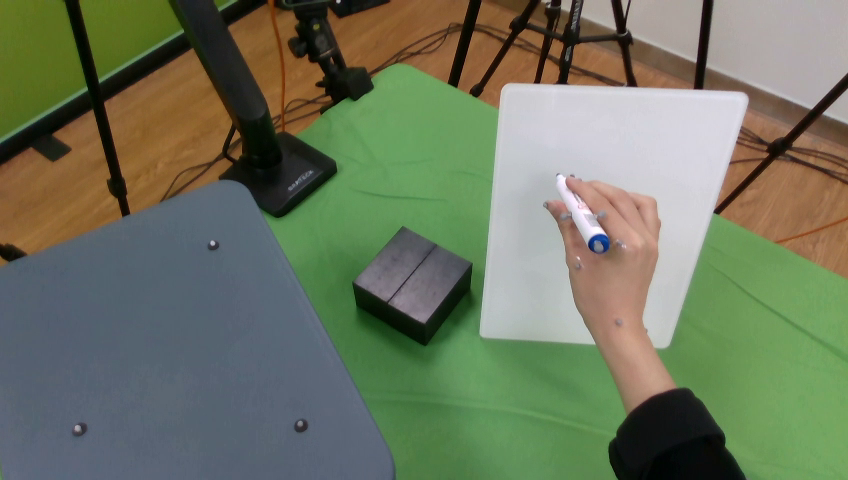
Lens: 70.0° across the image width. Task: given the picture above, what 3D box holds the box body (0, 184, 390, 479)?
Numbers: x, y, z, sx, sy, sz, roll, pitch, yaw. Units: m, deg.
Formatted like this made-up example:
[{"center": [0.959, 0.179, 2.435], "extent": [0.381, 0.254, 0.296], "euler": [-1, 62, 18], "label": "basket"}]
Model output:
[{"center": [-0.216, 0.154, 0.565], "extent": [0.254, 0.162, 0.360], "euler": [-26, 58, -18], "label": "box body"}]

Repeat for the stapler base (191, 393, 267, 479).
[{"center": [-0.201, 0.210, 0.598], "extent": [0.041, 0.025, 0.129], "euler": [3, 55, 26], "label": "stapler base"}]

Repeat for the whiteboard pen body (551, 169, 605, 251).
[{"center": [0.120, -0.031, 0.491], "extent": [0.017, 0.017, 0.139], "euler": [-2, 29, -1], "label": "whiteboard pen body"}]

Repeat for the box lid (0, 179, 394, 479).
[{"center": [-0.217, 0.108, 0.506], "extent": [0.263, 0.015, 0.367], "euler": [-25, 58, -18], "label": "box lid"}]

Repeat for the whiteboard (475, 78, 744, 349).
[{"center": [0.174, -0.046, 0.667], "extent": [0.217, 0.308, 0.142], "euler": [3, 34, 3], "label": "whiteboard"}]

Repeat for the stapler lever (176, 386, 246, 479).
[{"center": [-0.208, 0.196, 0.579], "extent": [0.026, 0.040, 0.117], "euler": [3, 53, 26], "label": "stapler lever"}]

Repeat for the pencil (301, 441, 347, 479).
[{"center": [-0.145, 0.258, 0.573], "extent": [0.012, 0.012, 0.194], "euler": [35, 50, 23], "label": "pencil"}]
